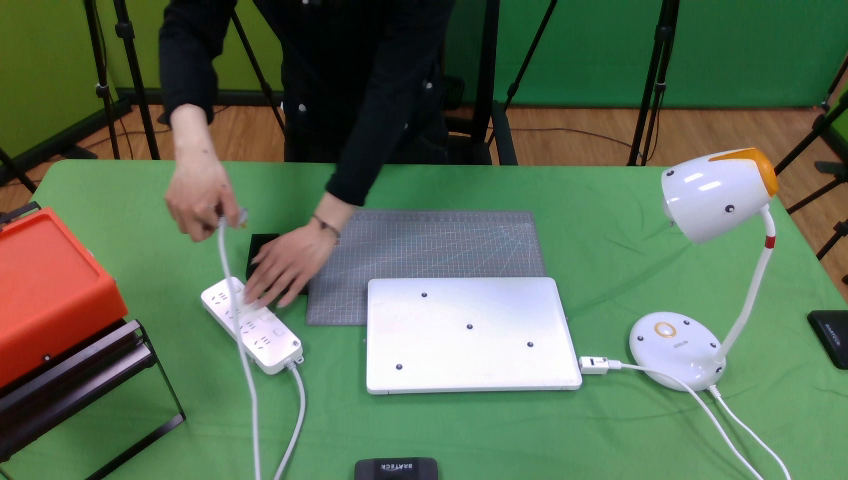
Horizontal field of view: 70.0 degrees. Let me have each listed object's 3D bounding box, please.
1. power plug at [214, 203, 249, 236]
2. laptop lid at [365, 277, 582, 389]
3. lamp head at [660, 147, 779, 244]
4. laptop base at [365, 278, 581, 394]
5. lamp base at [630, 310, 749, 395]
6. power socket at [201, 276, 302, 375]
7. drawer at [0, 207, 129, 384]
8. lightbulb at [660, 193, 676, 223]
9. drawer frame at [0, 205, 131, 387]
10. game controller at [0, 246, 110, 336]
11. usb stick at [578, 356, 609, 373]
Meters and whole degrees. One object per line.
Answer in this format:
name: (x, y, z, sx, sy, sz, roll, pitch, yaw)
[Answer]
power plug: (-0.315, -0.029, 0.983, 0.035, 0.053, 0.072, 24, 66, 27)
laptop lid: (0.077, 0.152, 1.046, 0.357, 0.013, 0.240, 1, 45, -3)
lamp head: (0.389, -0.063, 0.784, 0.123, 0.113, 0.112, -22, 33, 37)
laptop base: (0.077, 0.162, 1.053, 0.355, 0.023, 0.234, 0, 44, -4)
lamp base: (0.447, 0.142, 0.984, 0.161, 0.181, 0.178, -24, 55, -24)
power socket: (-0.296, 0.142, 1.034, 0.072, 0.033, 0.225, -34, 58, -30)
drawer: (-0.539, 0.074, 0.798, 0.193, 0.073, 0.211, 37, 55, 27)
lightbulb: (0.368, -0.060, 0.807, 0.060, 0.107, 0.059, 19, 59, -35)
drawer frame: (-0.539, 0.075, 0.795, 0.200, 0.083, 0.213, 36, 54, 26)
game controller: (-0.511, 0.063, 0.830, 0.097, 0.052, 0.154, -30, 58, -32)
usb stick: (0.274, 0.207, 1.007, 0.059, 0.027, 0.021, 0, 52, 0)
